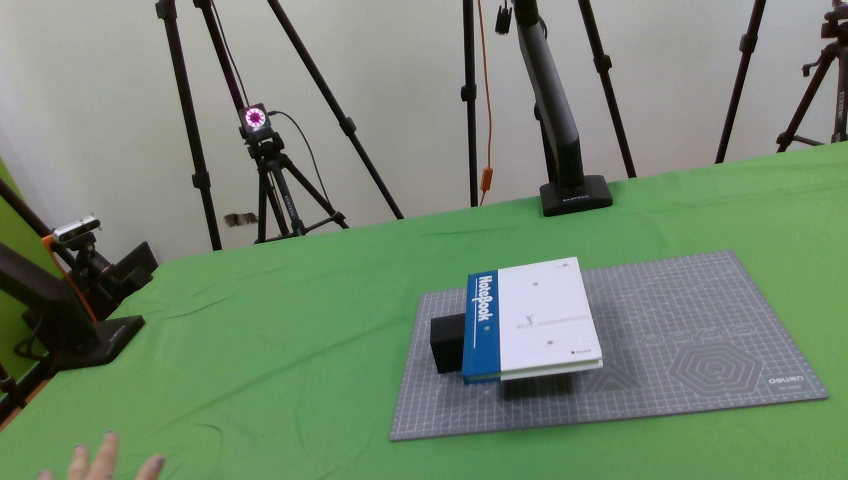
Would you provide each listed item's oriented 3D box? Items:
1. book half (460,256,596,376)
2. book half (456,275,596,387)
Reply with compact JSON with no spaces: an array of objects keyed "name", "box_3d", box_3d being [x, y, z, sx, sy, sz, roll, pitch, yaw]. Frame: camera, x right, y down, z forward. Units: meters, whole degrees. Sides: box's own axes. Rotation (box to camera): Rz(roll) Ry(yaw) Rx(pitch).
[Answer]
[{"name":"book half","box_3d":[0.116,0.083,0.719,0.143,0.007,0.208,-10,26,10]},{"name":"book half","box_3d":[0.114,0.090,0.723,0.148,0.016,0.208,-10,27,11]}]
